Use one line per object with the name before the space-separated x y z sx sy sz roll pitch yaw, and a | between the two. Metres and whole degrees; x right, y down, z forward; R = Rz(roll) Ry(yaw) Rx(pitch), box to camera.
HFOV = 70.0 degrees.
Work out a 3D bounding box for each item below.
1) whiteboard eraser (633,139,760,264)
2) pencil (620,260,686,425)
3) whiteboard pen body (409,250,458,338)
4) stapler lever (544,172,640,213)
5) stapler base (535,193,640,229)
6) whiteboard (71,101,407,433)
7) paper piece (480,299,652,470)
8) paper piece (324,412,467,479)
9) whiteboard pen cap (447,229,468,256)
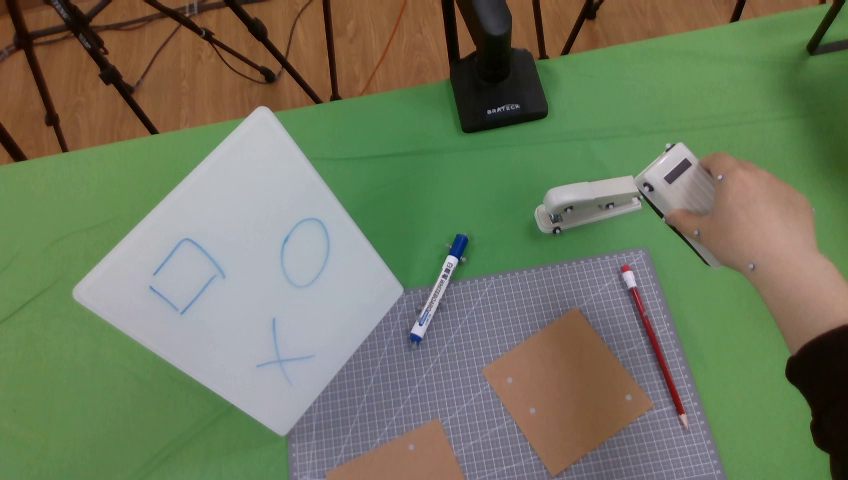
whiteboard eraser | 0.251 -0.035 0.563 0.055 0.042 0.112 -41 86 -7
pencil | 0.256 0.110 0.679 0.012 0.012 0.192 -14 66 0
whiteboard pen body | 0.017 0.053 0.727 0.017 0.017 0.140 21 68 15
stapler lever | 0.203 -0.060 0.734 0.118 0.040 0.026 -16 67 -2
stapler base | 0.204 -0.049 0.755 0.130 0.024 0.041 -15 67 -3
whiteboard | -0.190 0.024 0.639 0.142 0.309 0.217 28 70 40
paper piece | 0.154 0.156 0.670 0.136 0.009 0.137 -32 67 -6
paper piece | -0.020 0.270 0.634 0.135 0.004 0.134 -23 66 -6
whiteboard pen cap | 0.041 0.005 0.747 0.018 0.018 0.033 18 67 14
